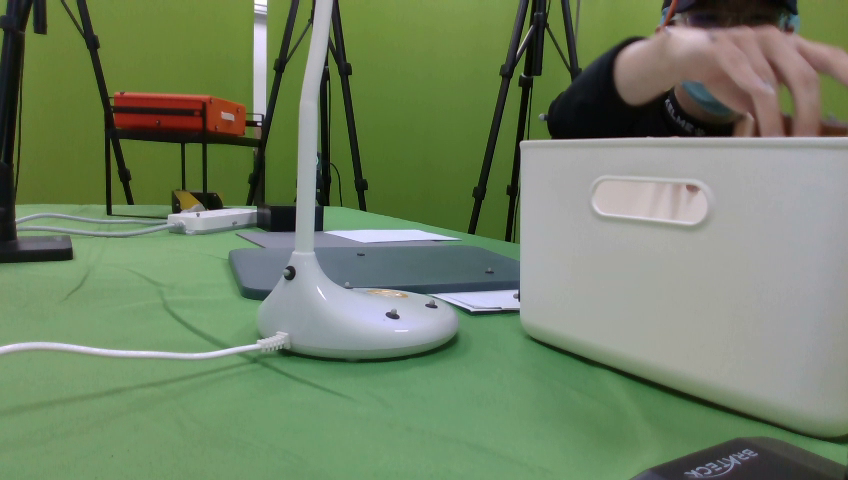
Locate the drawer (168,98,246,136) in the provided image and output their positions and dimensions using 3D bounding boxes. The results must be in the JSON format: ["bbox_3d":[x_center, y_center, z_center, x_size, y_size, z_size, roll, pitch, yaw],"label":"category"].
[{"bbox_3d":[-0.539,-0.279,1.374,0.212,0.073,0.194,2,8,5],"label":"drawer"}]

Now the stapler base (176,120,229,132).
[{"bbox_3d":[-0.496,-0.257,1.364,0.041,0.024,0.131,2,9,22],"label":"stapler base"}]

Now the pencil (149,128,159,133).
[{"bbox_3d":[-0.528,-0.258,1.361,0.012,0.012,0.195,8,20,35],"label":"pencil"}]

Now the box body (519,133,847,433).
[{"bbox_3d":[0.279,0.005,0.485,0.366,0.160,0.253,-3,9,-36],"label":"box body"}]

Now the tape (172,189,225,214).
[{"bbox_3d":[-0.515,-0.087,1.388,0.117,0.052,0.117,3,8,0],"label":"tape"}]

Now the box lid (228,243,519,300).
[{"bbox_3d":[-0.044,0.033,0.757,0.373,0.015,0.262,-1,9,-22],"label":"box lid"}]

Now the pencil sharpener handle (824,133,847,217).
[{"bbox_3d":[0.340,-0.049,0.477,0.030,0.068,0.036,10,31,16],"label":"pencil sharpener handle"}]

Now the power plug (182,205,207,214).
[{"bbox_3d":[-0.455,-0.041,1.196,0.052,0.035,0.072,1,42,23],"label":"power plug"}]

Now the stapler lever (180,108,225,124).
[{"bbox_3d":[-0.496,-0.281,1.359,0.027,0.040,0.118,2,8,22],"label":"stapler lever"}]

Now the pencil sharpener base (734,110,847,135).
[{"bbox_3d":[0.288,-0.044,0.487,0.076,0.107,0.061,11,7,15],"label":"pencil sharpener base"}]

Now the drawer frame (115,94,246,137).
[{"bbox_3d":[-0.543,-0.281,1.374,0.213,0.082,0.201,2,8,4],"label":"drawer frame"}]

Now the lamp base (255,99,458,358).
[{"bbox_3d":[-0.056,-0.013,0.462,0.160,0.180,0.180,6,11,27],"label":"lamp base"}]

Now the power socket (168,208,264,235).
[{"bbox_3d":[-0.381,-0.038,1.129,0.072,0.032,0.227,4,8,17],"label":"power socket"}]
